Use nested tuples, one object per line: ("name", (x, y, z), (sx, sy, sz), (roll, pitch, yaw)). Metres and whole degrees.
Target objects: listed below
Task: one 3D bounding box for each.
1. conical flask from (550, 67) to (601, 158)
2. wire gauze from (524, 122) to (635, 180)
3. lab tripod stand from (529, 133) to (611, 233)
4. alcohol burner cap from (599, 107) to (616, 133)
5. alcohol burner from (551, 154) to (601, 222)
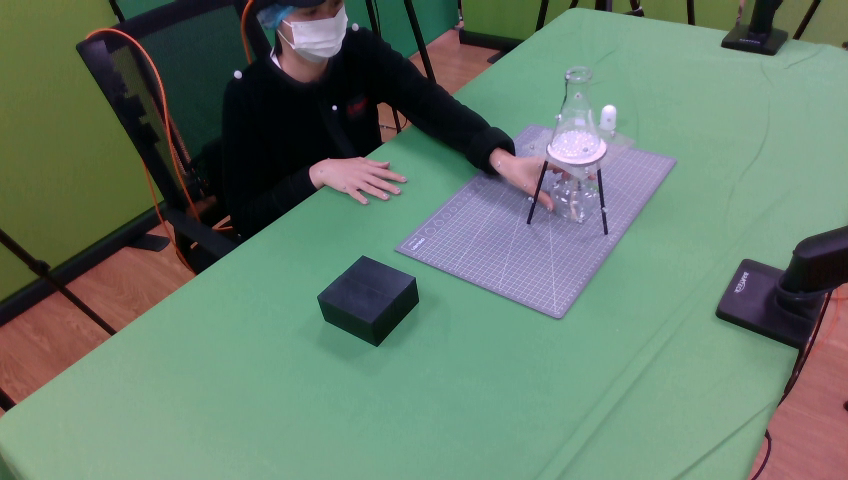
("conical flask", (0.221, -0.186, 0.875), (0.075, 0.122, 0.075), (-5, 40, 5))
("wire gauze", (0.233, -0.141, 0.913), (0.122, 0.011, 0.124), (-31, 42, -26))
("lab tripod stand", (0.236, -0.089, 0.952), (0.148, 0.132, 0.147), (-5, 42, 5))
("alcohol burner cap", (0.361, -0.238, 1.189), (0.034, 0.048, 0.033), (-4, 40, 4))
("alcohol burner", (0.244, -0.087, 0.966), (0.078, 0.119, 0.077), (-3, 40, 3))
